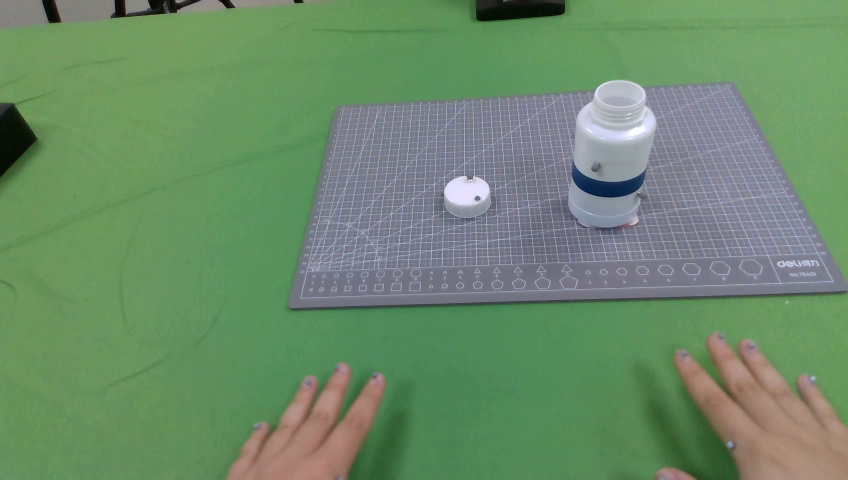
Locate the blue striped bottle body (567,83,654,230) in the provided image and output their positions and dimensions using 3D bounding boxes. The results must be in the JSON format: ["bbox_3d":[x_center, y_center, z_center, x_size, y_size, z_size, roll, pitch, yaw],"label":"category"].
[{"bbox_3d":[0.158,-0.071,0.515,0.063,0.122,0.062,-4,46,4],"label":"blue striped bottle body"}]

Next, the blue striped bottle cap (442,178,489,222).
[{"bbox_3d":[0.039,-0.038,0.573,0.044,0.021,0.044,-3,45,3],"label":"blue striped bottle cap"}]
